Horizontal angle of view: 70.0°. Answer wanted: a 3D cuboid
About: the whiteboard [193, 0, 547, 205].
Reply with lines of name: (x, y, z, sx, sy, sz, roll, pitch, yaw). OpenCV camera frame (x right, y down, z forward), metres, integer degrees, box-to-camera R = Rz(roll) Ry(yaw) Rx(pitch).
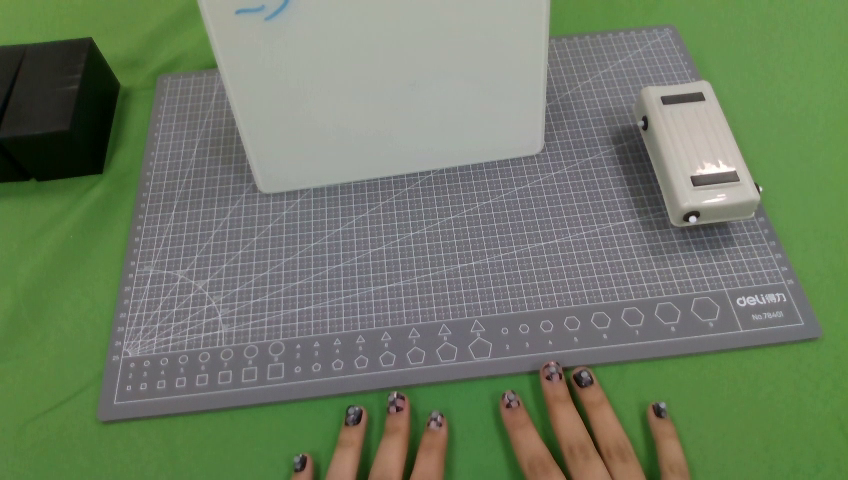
whiteboard: (-0.038, -0.203, 0.410, 0.217, 0.308, 0.142, -8, 38, -2)

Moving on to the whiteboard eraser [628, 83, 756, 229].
whiteboard eraser: (0.187, -0.059, 0.431, 0.055, 0.042, 0.111, -5, 58, -1)
